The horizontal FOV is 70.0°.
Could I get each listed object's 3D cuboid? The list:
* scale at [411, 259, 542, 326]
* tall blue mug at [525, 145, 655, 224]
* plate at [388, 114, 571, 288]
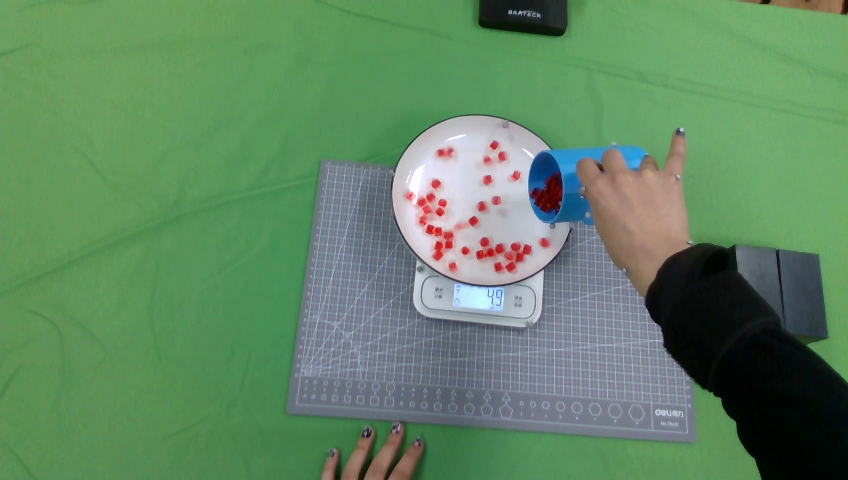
[{"bbox_3d":[0.066,-0.005,0.709,0.149,0.032,0.199,7,72,-3],"label":"scale"},{"bbox_3d":[0.176,-0.067,0.627,0.108,0.107,0.077,-5,63,-18],"label":"tall blue mug"},{"bbox_3d":[0.062,-0.043,0.687,0.209,0.038,0.207,2,71,-6],"label":"plate"}]
